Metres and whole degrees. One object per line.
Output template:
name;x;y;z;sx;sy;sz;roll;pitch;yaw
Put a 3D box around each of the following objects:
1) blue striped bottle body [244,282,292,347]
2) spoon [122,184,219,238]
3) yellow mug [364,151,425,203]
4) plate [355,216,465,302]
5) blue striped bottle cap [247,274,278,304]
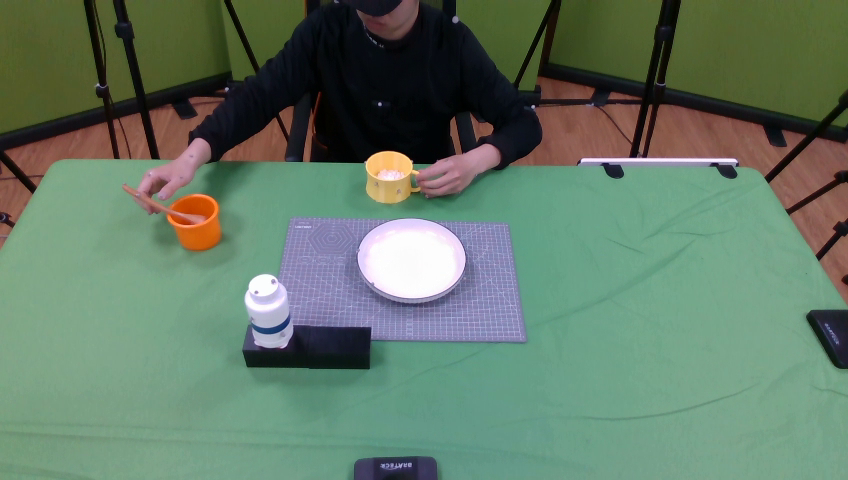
blue striped bottle body;-0.241;0.108;0.937;0.063;0.121;0.062;2;46;-2
spoon;-0.463;-0.053;1.118;0.195;0.021;0.041;28;37;-35
yellow mug;-0.061;-0.133;1.290;0.131;0.064;0.099;9;46;3
plate;-0.027;0.039;1.144;0.208;0.039;0.206;2;46;-2
blue striped bottle cap;-0.239;0.072;0.900;0.044;0.021;0.044;4;46;-4
